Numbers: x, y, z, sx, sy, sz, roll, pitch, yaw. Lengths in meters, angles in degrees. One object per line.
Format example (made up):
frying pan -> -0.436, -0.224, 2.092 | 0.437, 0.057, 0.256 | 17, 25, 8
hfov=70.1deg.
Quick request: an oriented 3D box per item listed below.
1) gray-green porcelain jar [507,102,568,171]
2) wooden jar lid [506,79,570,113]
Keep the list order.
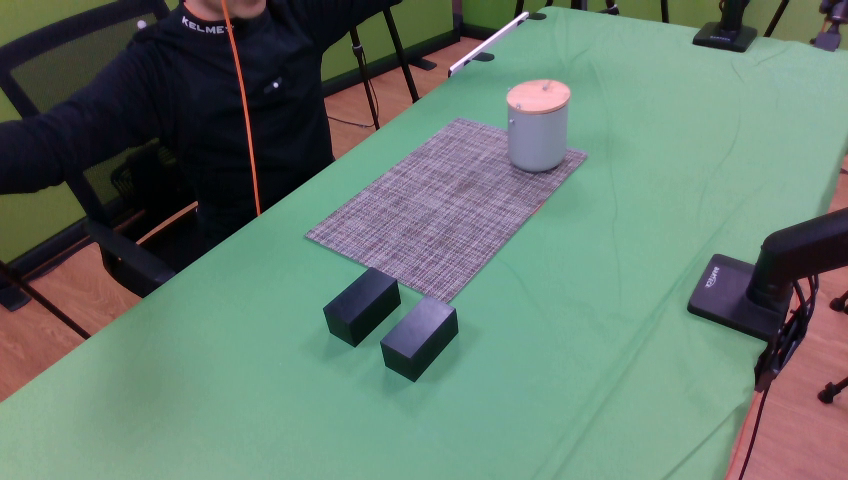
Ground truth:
gray-green porcelain jar -> 0.202, -0.196, 1.081 | 0.106, 0.127, 0.105 | -4, 41, 4
wooden jar lid -> 0.197, -0.243, 1.041 | 0.108, 0.021, 0.108 | -7, 41, 7
